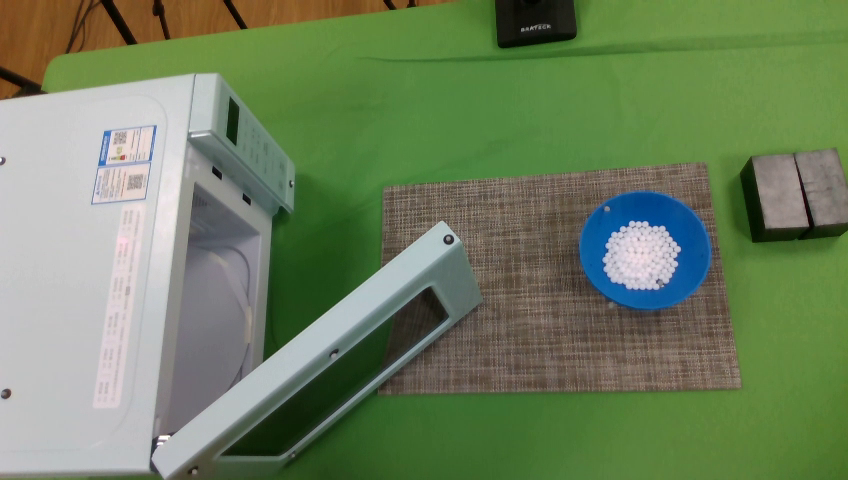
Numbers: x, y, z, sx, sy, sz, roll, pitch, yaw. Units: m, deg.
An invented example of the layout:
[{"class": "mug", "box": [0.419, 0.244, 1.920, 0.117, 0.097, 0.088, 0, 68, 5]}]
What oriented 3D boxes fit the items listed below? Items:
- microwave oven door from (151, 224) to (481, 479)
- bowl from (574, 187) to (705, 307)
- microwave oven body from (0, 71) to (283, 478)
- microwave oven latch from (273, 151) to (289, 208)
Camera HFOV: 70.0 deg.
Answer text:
[{"class": "microwave oven door", "box": [-0.093, 0.138, 0.681, 0.356, 0.246, 0.039, -39, 68, -4]}, {"class": "bowl", "box": [0.263, 0.018, 0.760, 0.151, 0.077, 0.150, -3, 71, 9]}, {"class": "microwave oven body", "box": [-0.373, 0.059, 0.763, 0.325, 0.262, 0.438, -5, 71, 8]}, {"class": "microwave oven latch", "box": [-0.215, -0.088, 0.888, 0.030, 0.030, 0.078, -5, 71, 8]}]
